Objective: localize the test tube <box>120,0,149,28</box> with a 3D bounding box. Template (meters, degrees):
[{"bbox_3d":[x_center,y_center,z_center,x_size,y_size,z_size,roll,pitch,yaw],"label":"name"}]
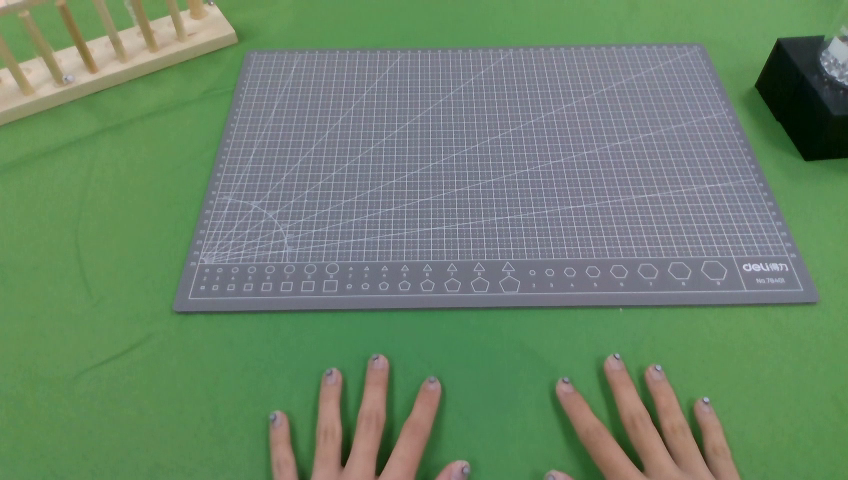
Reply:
[{"bbox_3d":[-0.284,-0.255,0.538,0.017,0.152,0.017,-3,53,5],"label":"test tube"}]

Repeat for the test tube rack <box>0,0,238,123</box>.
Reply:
[{"bbox_3d":[-0.308,-0.196,0.558,0.242,0.086,0.066,-26,57,-18],"label":"test tube rack"}]

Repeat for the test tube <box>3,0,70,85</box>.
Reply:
[{"bbox_3d":[-0.335,-0.193,0.500,0.017,0.152,0.017,-1,51,1],"label":"test tube"}]

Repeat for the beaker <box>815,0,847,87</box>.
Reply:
[{"bbox_3d":[0.352,-0.172,0.457,0.074,0.101,0.083,-23,55,-15],"label":"beaker"}]
